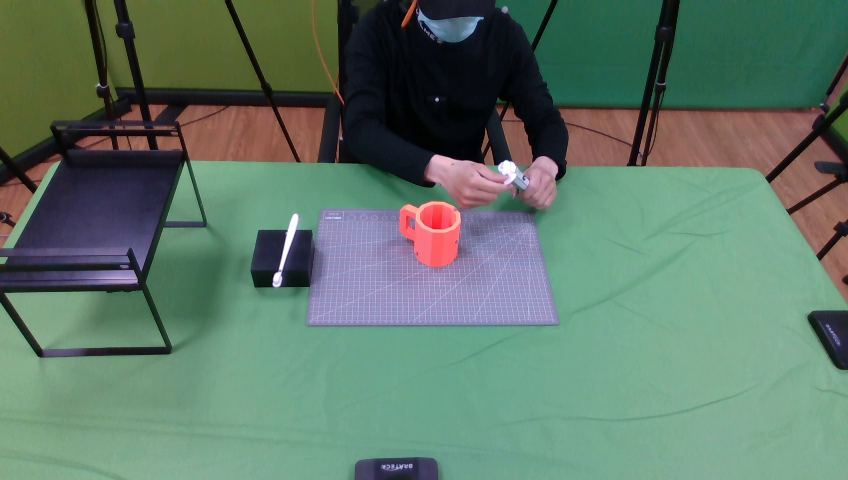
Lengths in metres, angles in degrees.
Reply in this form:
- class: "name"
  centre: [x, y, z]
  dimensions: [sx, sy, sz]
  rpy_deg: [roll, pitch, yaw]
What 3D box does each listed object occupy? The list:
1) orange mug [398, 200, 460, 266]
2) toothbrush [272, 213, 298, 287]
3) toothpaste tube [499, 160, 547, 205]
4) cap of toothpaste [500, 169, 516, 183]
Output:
- class: "orange mug"
  centre: [0.007, -0.020, 1.161]
  dimensions: [0.126, 0.101, 0.083]
  rpy_deg: [27, 50, 15]
- class: "toothbrush"
  centre: [-0.252, 0.013, 1.103]
  dimensions: [0.014, 0.017, 0.181]
  rpy_deg: [1, 46, 2]
- class: "toothpaste tube"
  centre: [0.199, -0.117, 1.226]
  dimensions: [0.034, 0.166, 0.054]
  rpy_deg: [-47, 49, 10]
- class: "cap of toothpaste"
  centre: [0.158, -0.122, 1.153]
  dimensions: [0.037, 0.011, 0.037]
  rpy_deg: [-32, 23, 16]
